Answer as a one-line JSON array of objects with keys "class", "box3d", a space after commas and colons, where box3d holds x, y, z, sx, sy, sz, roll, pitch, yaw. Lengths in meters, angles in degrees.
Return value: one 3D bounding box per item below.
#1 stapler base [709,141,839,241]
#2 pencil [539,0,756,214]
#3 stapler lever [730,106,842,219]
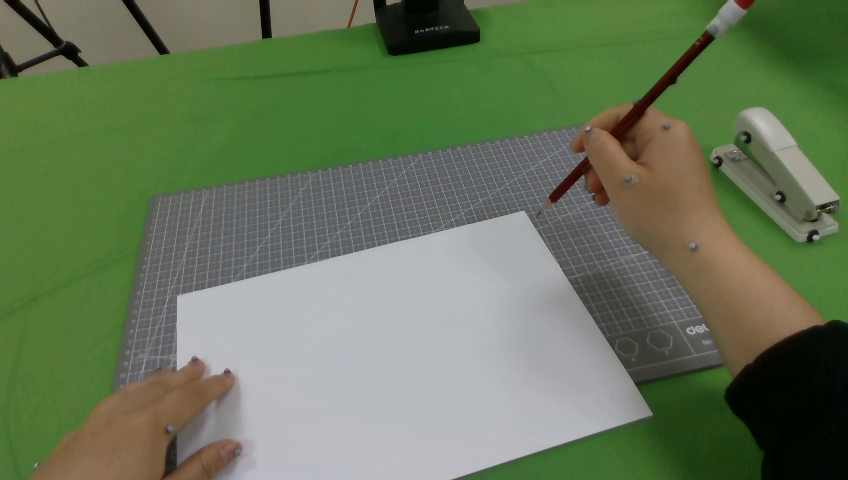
[{"class": "stapler base", "box3d": [0.304, -0.053, 0.530, 0.041, 0.025, 0.129, -16, 47, -8]}, {"class": "pencil", "box3d": [0.133, -0.078, 0.390, 0.012, 0.194, 0.012, 21, 43, -20]}, {"class": "stapler lever", "box3d": [0.303, -0.069, 0.511, 0.027, 0.040, 0.116, -16, 48, -7]}]
